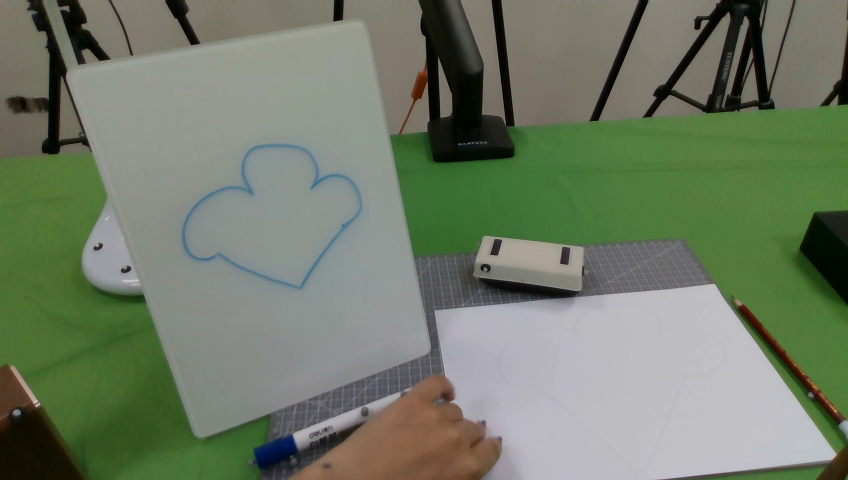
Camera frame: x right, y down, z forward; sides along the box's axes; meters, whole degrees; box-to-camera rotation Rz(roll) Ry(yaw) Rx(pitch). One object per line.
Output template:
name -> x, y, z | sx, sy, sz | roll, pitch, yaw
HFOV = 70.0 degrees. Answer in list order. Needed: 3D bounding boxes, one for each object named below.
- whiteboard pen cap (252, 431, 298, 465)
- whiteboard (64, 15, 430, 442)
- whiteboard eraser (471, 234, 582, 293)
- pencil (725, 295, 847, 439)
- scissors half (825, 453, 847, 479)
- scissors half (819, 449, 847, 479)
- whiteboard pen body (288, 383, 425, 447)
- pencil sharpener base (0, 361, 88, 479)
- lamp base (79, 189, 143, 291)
whiteboard pen cap -> -0.118, 0.165, 0.481 | 0.033, 0.018, 0.018 | -17, 39, -18
whiteboard -> -0.142, -0.021, 0.547 | 0.218, 0.307, 0.142 | -17, 20, -18
whiteboard eraser -> 0.109, 0.025, 0.643 | 0.112, 0.042, 0.055 | 8, 38, 12
pencil -> 0.332, 0.111, 0.553 | 0.012, 0.012, 0.192 | -8, 36, -8
scissors half -> 0.167, 0.170, 0.313 | 0.013, 0.175, 0.040 | 28, 19, -3
scissors half -> 0.166, 0.174, 0.294 | 0.013, 0.175, 0.040 | 26, 4, -8
whiteboard pen body -> -0.065, 0.147, 0.500 | 0.141, 0.017, 0.017 | -16, 39, -18
pencil sharpener base -> -0.305, 0.155, 0.434 | 0.061, 0.108, 0.076 | 29, 47, 34
lamp base -> -0.323, -0.061, 0.662 | 0.178, 0.182, 0.160 | 22, 43, 31
